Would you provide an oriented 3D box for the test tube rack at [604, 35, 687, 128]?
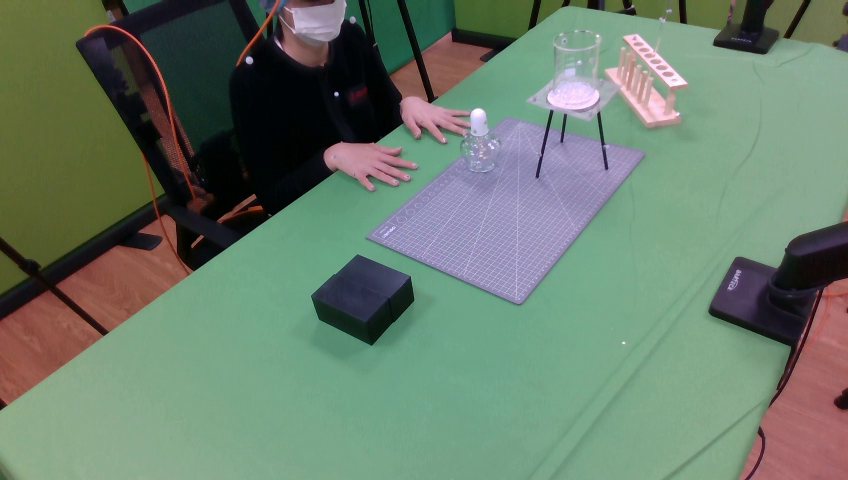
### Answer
[{"bbox_3d":[0.447,-0.330,1.242,0.067,0.085,0.241,-9,41,-2],"label":"test tube rack"}]

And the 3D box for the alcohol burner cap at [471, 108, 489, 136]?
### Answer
[{"bbox_3d":[0.098,-0.211,1.074,0.034,0.048,0.033,-6,42,6],"label":"alcohol burner cap"}]

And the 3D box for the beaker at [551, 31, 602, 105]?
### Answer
[{"bbox_3d":[0.252,-0.282,0.998,0.084,0.101,0.073,-16,42,-7],"label":"beaker"}]

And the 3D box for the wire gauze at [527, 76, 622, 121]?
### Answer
[{"bbox_3d":[0.255,-0.247,1.031,0.124,0.011,0.122,23,49,34],"label":"wire gauze"}]

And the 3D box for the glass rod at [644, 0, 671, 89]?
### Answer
[{"bbox_3d":[0.463,-0.387,1.204,0.008,0.200,0.008,0,47,1],"label":"glass rod"}]

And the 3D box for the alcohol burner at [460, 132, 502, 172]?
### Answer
[{"bbox_3d":[0.102,-0.185,1.098,0.078,0.119,0.077,-6,40,5],"label":"alcohol burner"}]

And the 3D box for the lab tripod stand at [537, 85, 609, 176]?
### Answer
[{"bbox_3d":[0.259,-0.192,1.068,0.148,0.132,0.147,-4,42,4],"label":"lab tripod stand"}]
